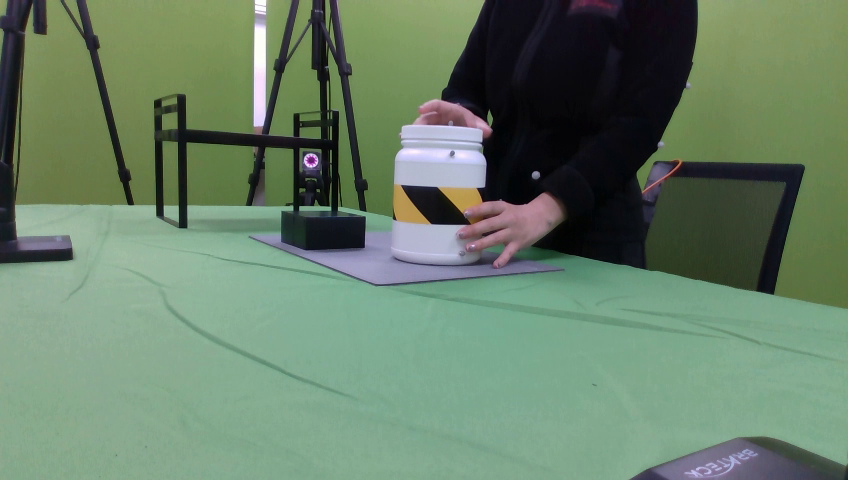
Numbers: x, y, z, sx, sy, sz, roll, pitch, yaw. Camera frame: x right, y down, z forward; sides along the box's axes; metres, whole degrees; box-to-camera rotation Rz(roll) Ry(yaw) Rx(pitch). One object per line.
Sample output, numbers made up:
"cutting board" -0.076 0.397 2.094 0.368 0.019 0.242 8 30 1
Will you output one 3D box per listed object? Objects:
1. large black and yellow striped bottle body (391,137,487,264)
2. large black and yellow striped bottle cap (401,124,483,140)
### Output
"large black and yellow striped bottle body" 0.022 -0.065 0.852 0.131 0.184 0.130 2 7 0
"large black and yellow striped bottle cap" 0.025 -0.149 0.841 0.115 0.019 0.115 2 6 0
